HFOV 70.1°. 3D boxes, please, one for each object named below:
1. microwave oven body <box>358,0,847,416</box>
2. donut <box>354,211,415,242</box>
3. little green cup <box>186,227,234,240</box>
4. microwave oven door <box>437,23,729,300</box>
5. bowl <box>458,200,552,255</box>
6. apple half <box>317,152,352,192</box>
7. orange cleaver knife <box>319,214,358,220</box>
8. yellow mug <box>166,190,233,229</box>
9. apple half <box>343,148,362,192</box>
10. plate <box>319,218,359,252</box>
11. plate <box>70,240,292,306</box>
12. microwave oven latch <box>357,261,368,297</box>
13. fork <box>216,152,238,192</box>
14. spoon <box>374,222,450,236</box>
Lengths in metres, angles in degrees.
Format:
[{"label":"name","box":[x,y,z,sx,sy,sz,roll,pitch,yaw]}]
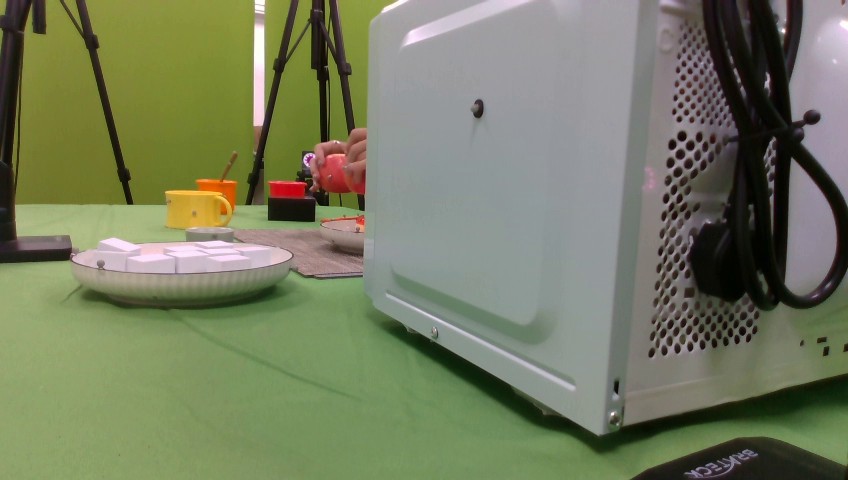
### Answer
[{"label":"microwave oven body","box":[0.211,-0.047,0.474,0.444,0.260,0.324,-1,7,-28]},{"label":"donut","box":[-0.062,-0.020,0.955,0.099,0.048,0.099,5,7,0]},{"label":"little green cup","box":[-0.285,0.005,0.805,0.061,0.038,0.061,2,8,0]},{"label":"microwave oven door","box":[0.181,-0.072,0.621,0.358,0.243,0.039,-2,9,-29]},{"label":"bowl","box":[0.128,-0.020,0.978,0.151,0.077,0.151,2,8,0]},{"label":"apple half","box":[-0.156,-0.121,1.099,0.081,0.081,0.032,1,21,-9]},{"label":"orange cleaver knife","box":[-0.142,-0.057,1.394,0.077,0.012,0.212,1,7,44]},{"label":"yellow mug","box":[-0.415,-0.057,1.132,0.130,0.064,0.100,6,8,16]},{"label":"apple half","box":[-0.086,-0.112,0.990,0.081,0.074,0.053,7,5,-42]},{"label":"plate","box":[-0.058,-0.007,0.939,0.209,0.038,0.209,3,8,0]},{"label":"plate","box":[-0.241,0.032,0.618,0.208,0.039,0.207,2,8,0]},{"label":"microwave oven latch","box":[-0.019,0.033,0.530,0.079,0.029,0.030,-1,7,-26]},{"label":"fork","box":[-0.455,-0.132,1.367,0.028,0.018,0.207,-2,-35,-38]},{"label":"spoon","box":[-0.027,-0.026,1.180,0.193,0.021,0.042,8,23,40]}]
